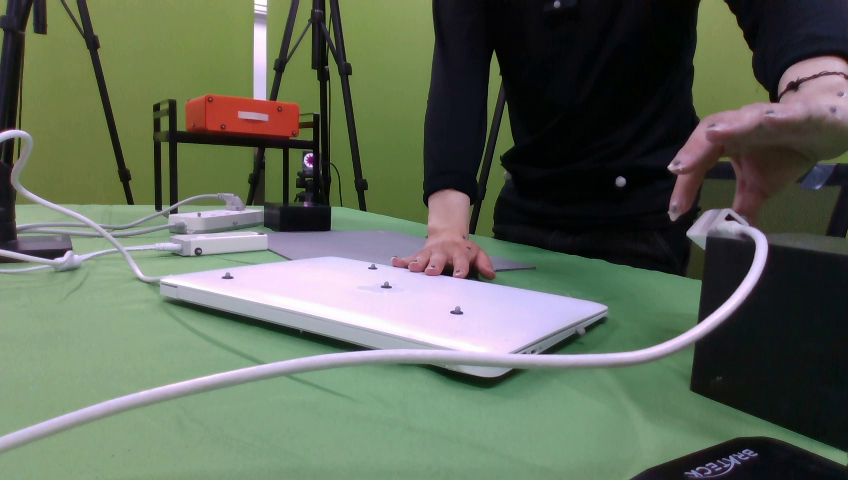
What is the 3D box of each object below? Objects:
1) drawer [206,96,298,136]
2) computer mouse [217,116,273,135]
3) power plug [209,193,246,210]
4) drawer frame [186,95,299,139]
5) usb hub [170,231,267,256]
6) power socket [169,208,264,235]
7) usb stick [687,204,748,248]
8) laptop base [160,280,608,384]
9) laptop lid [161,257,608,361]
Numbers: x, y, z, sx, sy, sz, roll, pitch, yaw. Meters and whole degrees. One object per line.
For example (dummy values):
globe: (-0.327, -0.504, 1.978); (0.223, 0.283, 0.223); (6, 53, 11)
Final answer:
drawer: (-0.413, -0.277, 1.376); (0.195, 0.073, 0.210); (-3, 10, -31)
computer mouse: (-0.401, -0.258, 1.354); (0.118, 0.041, 0.062); (-6, 15, -34)
power plug: (-0.388, -0.067, 1.205); (0.072, 0.052, 0.035); (3, 8, 26)
drawer frame: (-0.417, -0.277, 1.378); (0.203, 0.082, 0.212); (-3, 8, -32)
usb hub: (-0.290, 0.004, 0.862); (0.049, 0.025, 0.126); (10, 11, 42)
power socket: (-0.381, -0.038, 1.128); (0.072, 0.032, 0.227); (4, 8, 16)
usb stick: (0.214, -0.009, 0.447); (0.021, 0.027, 0.059); (39, 2, 7)
laptop base: (-0.039, 0.060, 0.555); (0.352, 0.023, 0.237); (8, 7, 33)
laptop lid: (-0.037, 0.046, 0.556); (0.355, 0.013, 0.243); (8, 7, 35)
